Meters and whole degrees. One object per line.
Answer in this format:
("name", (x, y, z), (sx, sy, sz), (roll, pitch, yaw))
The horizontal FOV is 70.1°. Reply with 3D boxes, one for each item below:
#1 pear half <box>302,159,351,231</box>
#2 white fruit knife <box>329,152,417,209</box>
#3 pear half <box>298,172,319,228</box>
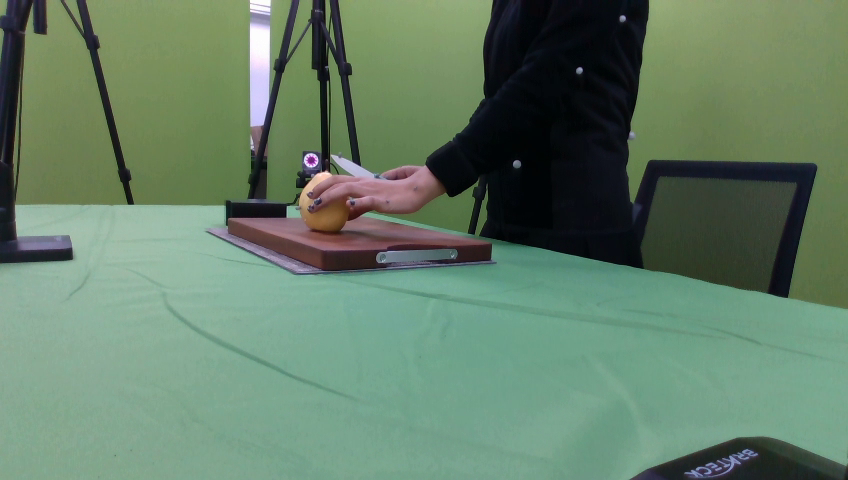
("pear half", (-0.141, -0.068, 0.919), (0.056, 0.110, 0.076), (7, 12, 30))
("white fruit knife", (-0.088, -0.110, 1.098), (0.208, 0.027, 0.016), (28, -16, -37))
("pear half", (-0.172, -0.062, 0.939), (0.031, 0.088, 0.071), (7, 14, 29))
